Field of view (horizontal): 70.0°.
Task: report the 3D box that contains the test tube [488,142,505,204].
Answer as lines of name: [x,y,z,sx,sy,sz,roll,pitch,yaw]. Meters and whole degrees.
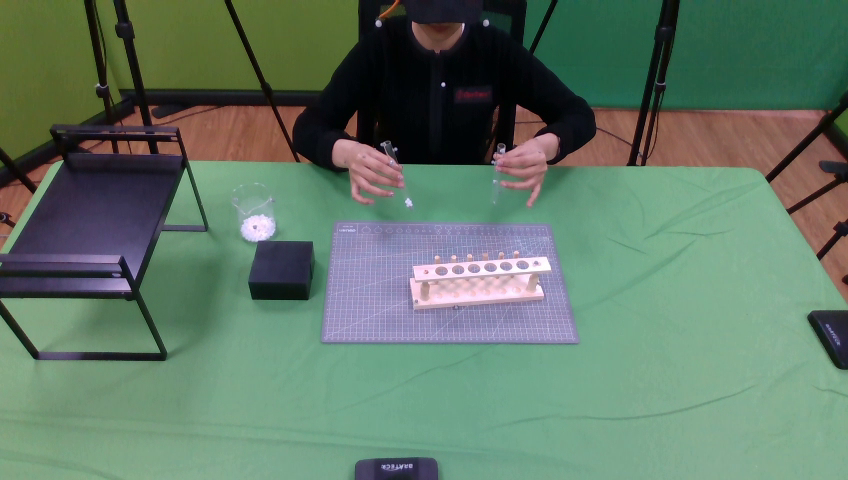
test tube: [0.139,-0.126,1.167,0.017,0.151,0.017,1,48,-1]

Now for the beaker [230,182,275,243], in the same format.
beaker: [-0.328,-0.049,1.166,0.074,0.101,0.083,2,47,-2]

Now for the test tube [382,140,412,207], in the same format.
test tube: [-0.050,-0.124,1.152,0.017,0.151,0.017,-13,37,10]

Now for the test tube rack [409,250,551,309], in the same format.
test tube rack: [0.098,0.065,1.096,0.243,0.085,0.066,-4,47,-8]
